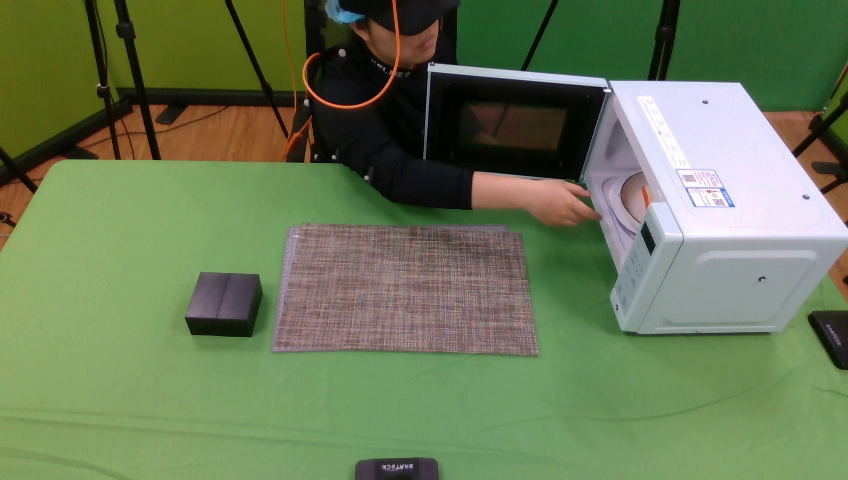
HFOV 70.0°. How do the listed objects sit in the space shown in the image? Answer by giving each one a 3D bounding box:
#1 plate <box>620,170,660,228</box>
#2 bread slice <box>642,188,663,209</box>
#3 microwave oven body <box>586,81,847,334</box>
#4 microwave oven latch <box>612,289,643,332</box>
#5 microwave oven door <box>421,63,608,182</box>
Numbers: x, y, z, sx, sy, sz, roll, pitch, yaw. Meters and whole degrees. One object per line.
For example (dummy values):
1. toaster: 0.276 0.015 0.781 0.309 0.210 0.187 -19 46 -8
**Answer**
1. plate: 0.490 -0.060 1.194 0.209 0.038 0.208 2 45 -2
2. bread slice: 0.493 -0.056 1.196 0.105 0.019 0.131 6 42 3
3. microwave oven body: 0.501 -0.070 1.132 0.326 0.261 0.438 -1 45 -3
4. microwave oven latch: 0.357 0.124 1.068 0.030 0.029 0.078 0 45 -3
5. microwave oven door: 0.178 -0.241 1.268 0.356 0.245 0.039 5 46 1
